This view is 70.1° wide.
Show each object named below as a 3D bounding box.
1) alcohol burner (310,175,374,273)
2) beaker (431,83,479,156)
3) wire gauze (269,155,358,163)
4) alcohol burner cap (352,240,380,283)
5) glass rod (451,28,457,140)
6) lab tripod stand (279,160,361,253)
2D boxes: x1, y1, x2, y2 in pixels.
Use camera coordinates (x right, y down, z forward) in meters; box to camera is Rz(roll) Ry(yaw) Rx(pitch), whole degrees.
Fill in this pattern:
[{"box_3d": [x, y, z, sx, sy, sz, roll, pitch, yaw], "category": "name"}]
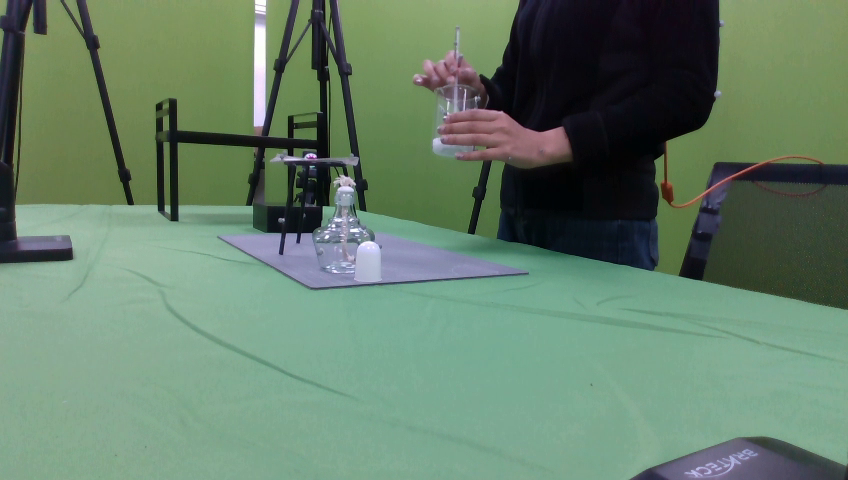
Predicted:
[{"box_3d": [-0.100, -0.020, 0.741, 0.078, 0.119, 0.078, 1, 6, 0], "category": "alcohol burner"}, {"box_3d": [0.046, -0.189, 0.957, 0.073, 0.100, 0.084, -1, -5, 37], "category": "beaker"}, {"box_3d": [-0.159, -0.118, 0.886, 0.122, 0.011, 0.125, 1, 7, -9], "category": "wire gauze"}, {"box_3d": [-0.065, 0.023, 0.690, 0.034, 0.048, 0.034, 3, 8, 0], "category": "alcohol burner cap"}, {"box_3d": [0.047, -0.249, 0.956, 0.008, 0.199, 0.008, 1, -17, 1], "category": "glass rod"}, {"box_3d": [-0.166, -0.052, 0.897, 0.148, 0.131, 0.148, 0, 7, 0], "category": "lab tripod stand"}]
